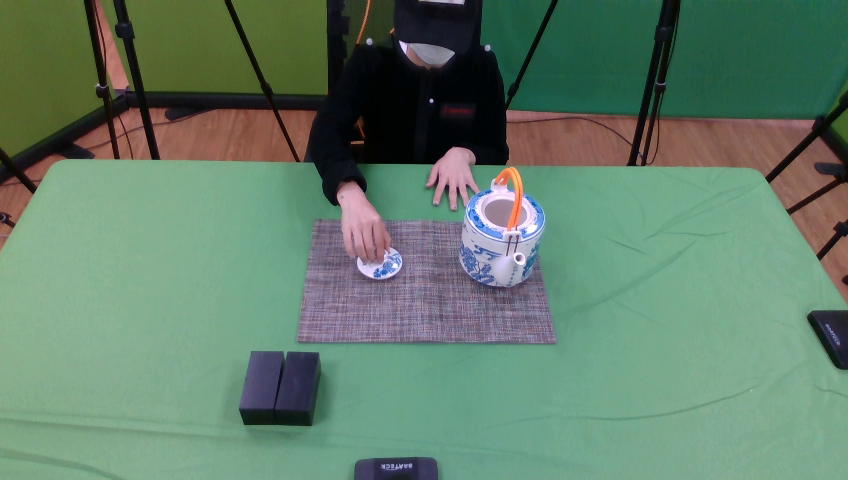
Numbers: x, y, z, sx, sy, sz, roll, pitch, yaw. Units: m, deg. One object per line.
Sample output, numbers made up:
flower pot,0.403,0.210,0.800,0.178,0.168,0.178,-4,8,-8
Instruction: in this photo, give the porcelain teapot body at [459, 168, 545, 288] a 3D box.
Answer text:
porcelain teapot body,0.146,-0.006,1.070,0.145,0.226,0.204,-4,46,-8

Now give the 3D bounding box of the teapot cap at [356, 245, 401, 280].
teapot cap,-0.085,0.038,1.135,0.085,0.044,0.084,4,47,-4
